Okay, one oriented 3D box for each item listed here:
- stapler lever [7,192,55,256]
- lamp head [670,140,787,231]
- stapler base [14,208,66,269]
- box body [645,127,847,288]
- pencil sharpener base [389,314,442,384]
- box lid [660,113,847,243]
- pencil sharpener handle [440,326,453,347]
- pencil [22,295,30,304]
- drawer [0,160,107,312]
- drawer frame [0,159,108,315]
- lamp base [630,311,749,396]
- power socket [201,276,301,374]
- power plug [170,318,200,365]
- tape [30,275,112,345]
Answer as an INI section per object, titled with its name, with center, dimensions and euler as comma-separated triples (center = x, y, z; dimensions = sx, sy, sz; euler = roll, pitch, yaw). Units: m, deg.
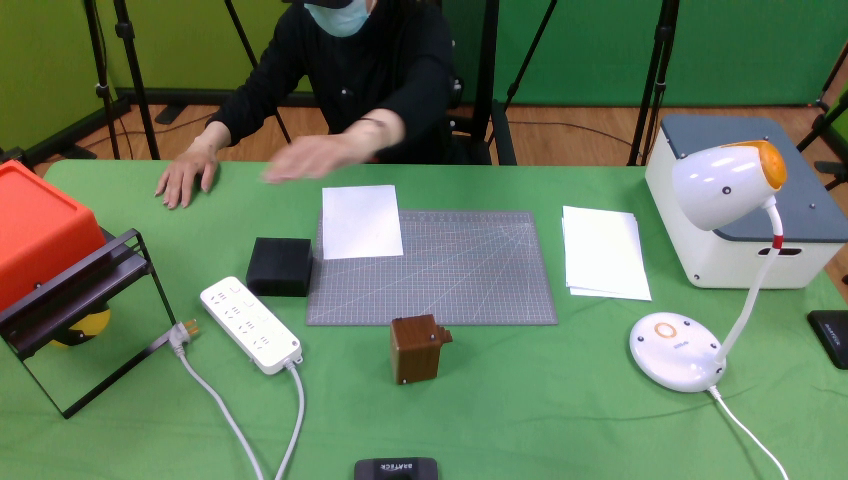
[stapler lever]
center = -0.575, -0.026, 0.885
dimensions = 0.027, 0.040, 0.117
euler = -31, 56, -25
[lamp head]
center = 0.415, -0.078, 0.811
dimensions = 0.113, 0.123, 0.112
euler = 12, 70, -37
[stapler base]
center = -0.578, -0.010, 0.903
dimensions = 0.041, 0.024, 0.130
euler = -30, 57, -25
[box body]
center = 0.625, -0.080, 1.222
dimensions = 0.254, 0.161, 0.361
euler = 0, 46, -3
[pencil sharpener base]
center = -0.014, 0.175, 0.971
dimensions = 0.077, 0.107, 0.061
euler = -8, 47, -12
[box lid]
center = 0.628, -0.133, 1.170
dimensions = 0.263, 0.015, 0.369
euler = 1, 46, -3
[pencil sharpener handle]
center = 0.036, 0.155, 0.976
dimensions = 0.031, 0.068, 0.036
euler = -8, 68, -12
[pencil]
center = -0.591, 0.011, 0.883
dimensions = 0.012, 0.012, 0.193
euler = -17, 61, -19
[drawer]
center = -0.610, -0.001, 0.866
dimensions = 0.194, 0.073, 0.211
euler = 29, 52, 21
[drawer frame]
center = -0.612, 0.000, 0.863
dimensions = 0.201, 0.083, 0.213
euler = 27, 51, 20
[lamp base]
center = 0.447, 0.143, 0.983
dimensions = 0.161, 0.181, 0.178
euler = -24, 55, -24
[power socket]
center = -0.298, 0.141, 1.034
dimensions = 0.072, 0.033, 0.225
euler = -34, 58, -30
[power plug]
center = -0.393, 0.167, 1.014
dimensions = 0.052, 0.035, 0.072
euler = -30, 91, -24
[tape]
center = -0.594, 0.117, 1.021
dimensions = 0.117, 0.053, 0.116
euler = 3, 46, -2
